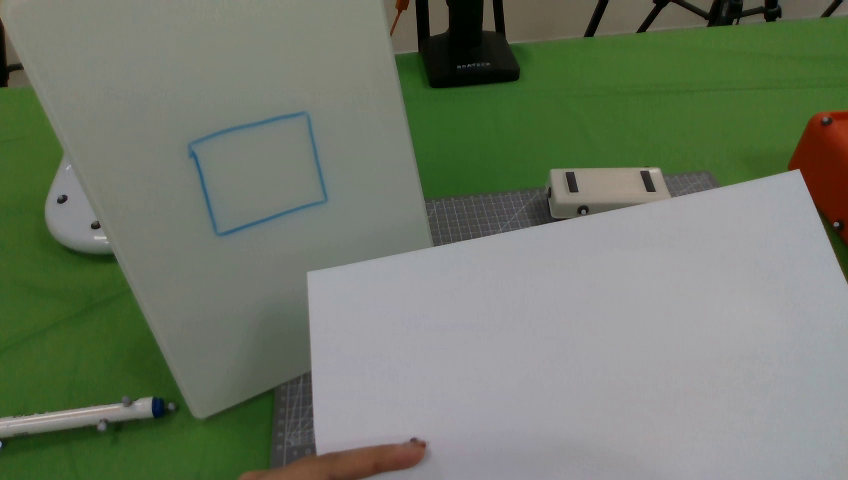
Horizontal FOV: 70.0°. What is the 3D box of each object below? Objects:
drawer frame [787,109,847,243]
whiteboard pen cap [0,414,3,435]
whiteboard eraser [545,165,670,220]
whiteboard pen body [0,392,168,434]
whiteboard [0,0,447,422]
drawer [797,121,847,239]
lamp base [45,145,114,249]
[{"bbox_3d":[0.488,-0.035,0.552,0.202,0.083,0.211,-5,45,-2],"label":"drawer frame"},{"bbox_3d":[-0.324,0.137,0.442,0.033,0.018,0.018,-5,45,-12],"label":"whiteboard pen cap"},{"bbox_3d":[0.178,-0.045,0.596,0.113,0.042,0.055,-1,44,1],"label":"whiteboard eraser"},{"bbox_3d":[-0.266,0.130,0.450,0.141,0.017,0.017,-6,45,-9],"label":"whiteboard pen body"},{"bbox_3d":[-0.131,-0.057,0.475,0.217,0.308,0.142,-21,29,-17],"label":"whiteboard"},{"bbox_3d":[0.489,-0.029,0.547,0.194,0.074,0.209,-4,44,-1],"label":"drawer"},{"bbox_3d":[-0.317,-0.108,0.578,0.178,0.182,0.160,24,50,26],"label":"lamp base"}]
